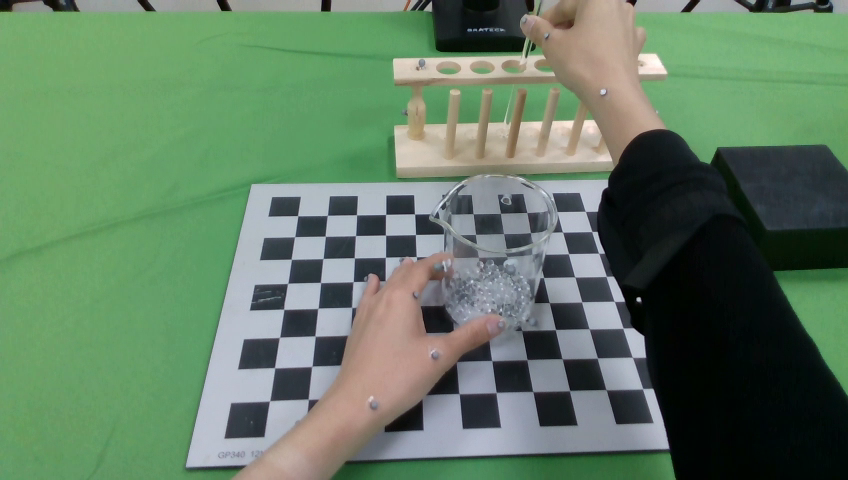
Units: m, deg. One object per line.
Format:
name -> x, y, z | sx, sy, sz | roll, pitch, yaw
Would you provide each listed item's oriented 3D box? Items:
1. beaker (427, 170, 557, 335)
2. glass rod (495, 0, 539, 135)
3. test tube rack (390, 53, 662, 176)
beaker -> 0.043, 0.013, 0.423 | 0.084, 0.101, 0.073 | -1, 47, -2
glass rod -> 0.084, -0.168, 0.517 | 0.008, 0.201, 0.008 | 5, 50, -5
test tube rack -> 0.091, -0.116, 0.560 | 0.243, 0.086, 0.066 | -2, 47, -4
